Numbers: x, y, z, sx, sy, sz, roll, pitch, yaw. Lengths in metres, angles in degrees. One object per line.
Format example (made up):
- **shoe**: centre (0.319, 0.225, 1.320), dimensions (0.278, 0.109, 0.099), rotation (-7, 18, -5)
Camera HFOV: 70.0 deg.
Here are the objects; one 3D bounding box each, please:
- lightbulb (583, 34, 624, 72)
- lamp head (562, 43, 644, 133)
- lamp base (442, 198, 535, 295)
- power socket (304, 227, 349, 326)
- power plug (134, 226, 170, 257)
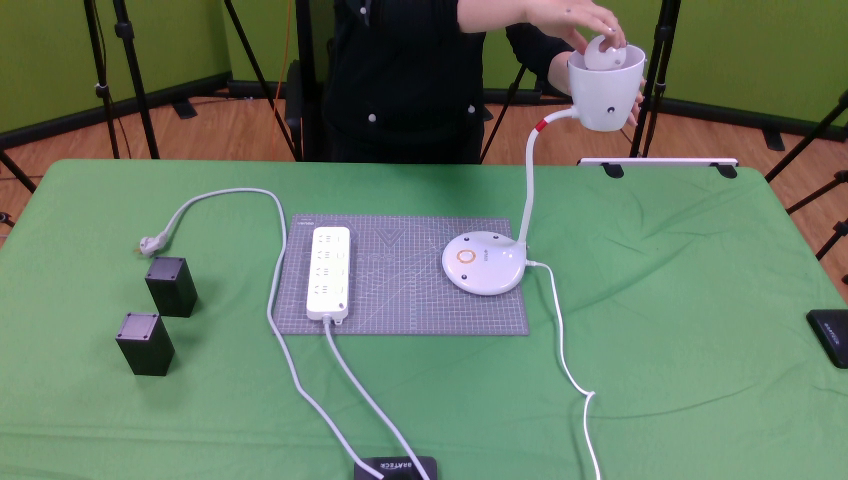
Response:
- **lightbulb**: centre (0.273, -0.256, 0.918), dimensions (0.059, 0.108, 0.059), rotation (-9, 33, 6)
- **lamp head**: centre (0.271, -0.227, 0.932), dimensions (0.112, 0.123, 0.112), rotation (-2, 37, 2)
- **lamp base**: centre (0.130, -0.012, 1.105), dimensions (0.179, 0.181, 0.159), rotation (-1, 46, -9)
- **power socket**: centre (-0.177, 0.059, 1.115), dimensions (0.072, 0.033, 0.225), rotation (-1, 46, -4)
- **power plug**: centre (-0.515, 0.006, 1.153), dimensions (0.052, 0.035, 0.072), rotation (-6, 24, 7)
